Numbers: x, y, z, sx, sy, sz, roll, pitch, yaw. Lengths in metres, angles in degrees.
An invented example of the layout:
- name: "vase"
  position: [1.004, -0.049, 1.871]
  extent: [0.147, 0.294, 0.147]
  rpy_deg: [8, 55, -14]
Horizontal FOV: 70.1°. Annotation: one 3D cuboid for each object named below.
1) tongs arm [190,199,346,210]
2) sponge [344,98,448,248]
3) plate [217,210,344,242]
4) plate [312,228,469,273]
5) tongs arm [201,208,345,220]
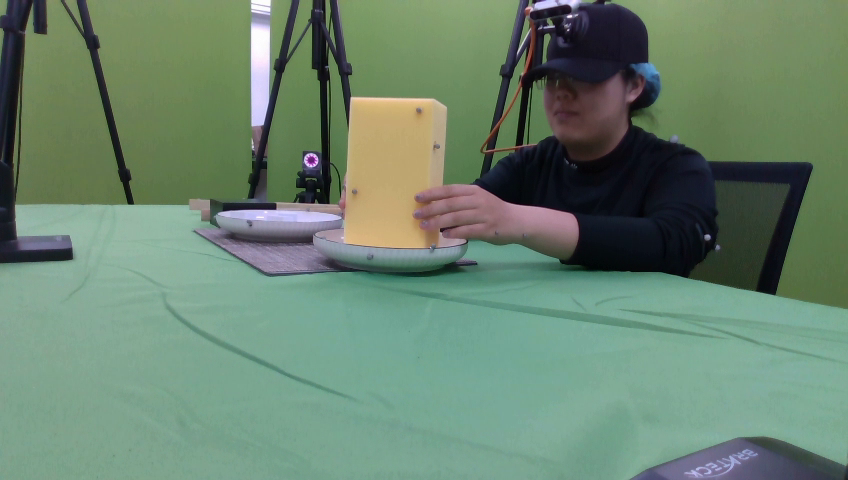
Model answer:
- name: "tongs arm"
  position: [-0.341, -0.075, 1.419]
  extent: [0.387, 0.026, 0.050]
  rpy_deg: [0, 8, -25]
- name: "sponge"
  position: [-0.037, -0.081, 0.806]
  extent: [0.118, 0.206, 0.061]
  rpy_deg: [4, 2, 18]
- name: "plate"
  position: [-0.241, -0.024, 1.026]
  extent: [0.208, 0.039, 0.207]
  rpy_deg: [3, 7, 0]
- name: "plate"
  position: [-0.044, 0.012, 0.807]
  extent: [0.209, 0.038, 0.209]
  rpy_deg: [2, 7, 0]
- name: "tongs arm"
  position: [-0.302, -0.060, 1.350]
  extent: [0.390, 0.028, 0.028]
  rpy_deg: [-3, 6, -38]
